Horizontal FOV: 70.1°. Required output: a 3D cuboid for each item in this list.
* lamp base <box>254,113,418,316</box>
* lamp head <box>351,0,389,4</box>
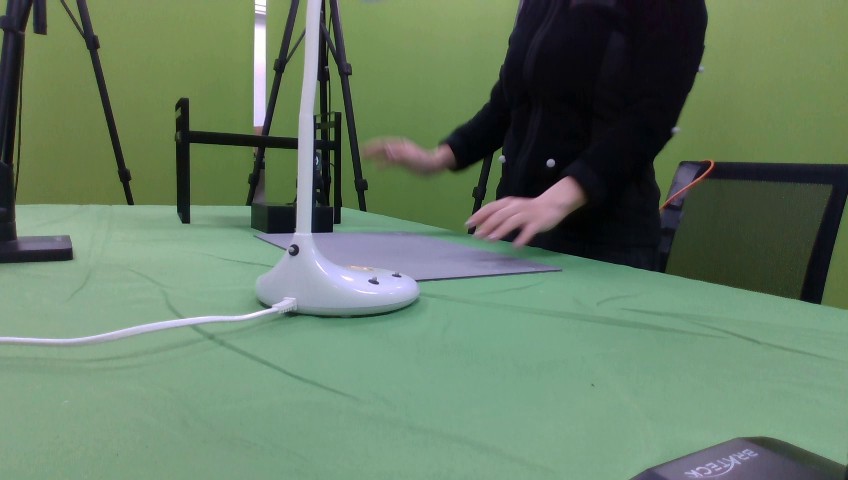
[{"bbox_3d":[-0.086,-0.027,0.577,0.160,0.180,0.179,4,10,16],"label":"lamp base"},{"bbox_3d":[-0.053,-0.313,0.597,0.112,0.112,0.123,6,-28,25],"label":"lamp head"}]
